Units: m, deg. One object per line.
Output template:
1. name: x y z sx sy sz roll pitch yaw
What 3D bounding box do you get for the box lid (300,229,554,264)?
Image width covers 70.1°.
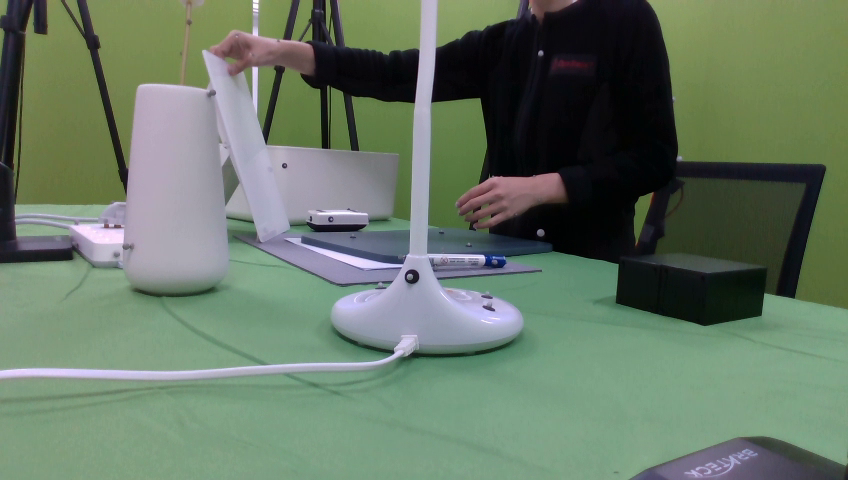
1. box lid: 0.011 0.006 0.998 0.374 0.015 0.262 -3 9 -43

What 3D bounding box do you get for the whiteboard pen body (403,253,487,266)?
1. whiteboard pen body: 0.040 0.026 0.785 0.141 0.017 0.017 1 7 -24

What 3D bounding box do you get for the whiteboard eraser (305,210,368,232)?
1. whiteboard eraser: -0.168 -0.038 1.172 0.113 0.042 0.055 -2 7 -35

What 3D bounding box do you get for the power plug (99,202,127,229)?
1. power plug: -0.415 -0.026 0.848 0.073 0.052 0.035 6 5 -28

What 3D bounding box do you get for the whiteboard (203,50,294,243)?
1. whiteboard: -0.352 -0.136 1.027 0.144 0.305 0.217 -15 7 2

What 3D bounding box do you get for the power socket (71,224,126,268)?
1. power socket: -0.409 0.004 0.793 0.072 0.032 0.225 -2 8 -37

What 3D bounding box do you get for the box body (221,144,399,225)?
1. box body: -0.264 -0.129 1.380 0.253 0.160 0.366 8 9 39

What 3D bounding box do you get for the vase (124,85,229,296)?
1. vase: -0.244 -0.047 0.598 0.098 0.200 0.098 3 8 0

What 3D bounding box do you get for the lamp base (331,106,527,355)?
1. lamp base: 0.006 -0.012 0.478 0.161 0.180 0.179 2 10 2

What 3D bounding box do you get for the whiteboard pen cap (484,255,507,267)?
1. whiteboard pen cap: 0.093 0.028 0.810 0.033 0.018 0.018 1 7 -24

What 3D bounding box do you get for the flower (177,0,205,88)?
1. flower: -0.243 -0.131 0.609 0.044 0.361 0.038 -5 -12 12
